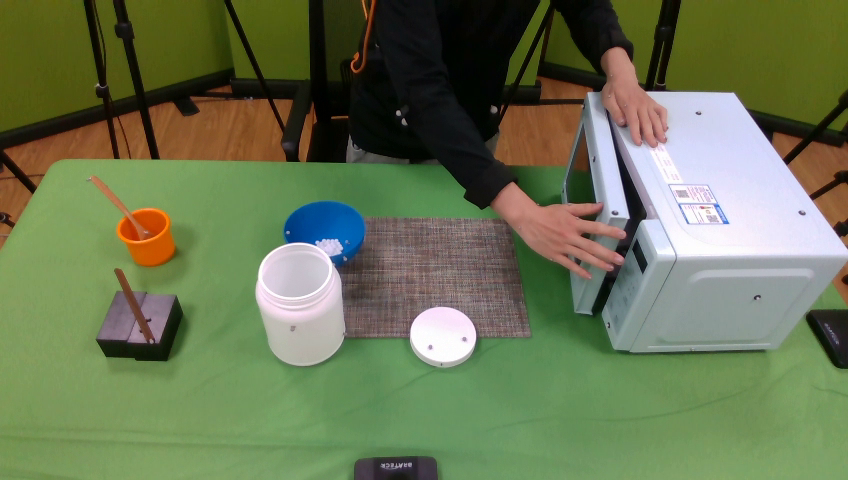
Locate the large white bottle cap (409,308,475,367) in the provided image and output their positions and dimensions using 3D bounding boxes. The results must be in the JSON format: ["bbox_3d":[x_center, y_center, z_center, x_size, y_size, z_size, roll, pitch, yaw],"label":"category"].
[{"bbox_3d":[0.031,0.166,1.041,0.115,0.018,0.114,2,46,-2],"label":"large white bottle cap"}]

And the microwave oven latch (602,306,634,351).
[{"bbox_3d":[0.332,0.153,1.044,0.030,0.029,0.078,0,45,-4],"label":"microwave oven latch"}]

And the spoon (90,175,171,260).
[{"bbox_3d":[-0.539,-0.042,1.111,0.041,0.194,0.021,-45,19,-32],"label":"spoon"}]

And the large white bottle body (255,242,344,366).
[{"bbox_3d":[-0.196,0.102,0.967,0.131,0.185,0.130,2,49,-2],"label":"large white bottle body"}]

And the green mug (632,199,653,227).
[{"bbox_3d":[0.455,-0.056,1.153,0.125,0.105,0.092,-17,45,-10],"label":"green mug"}]

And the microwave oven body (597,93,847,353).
[{"bbox_3d":[0.475,-0.041,1.110,0.326,0.261,0.438,-1,45,-4],"label":"microwave oven body"}]

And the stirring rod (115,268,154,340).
[{"bbox_3d":[-0.479,0.103,0.999,0.014,0.006,0.175,8,32,-49],"label":"stirring rod"}]

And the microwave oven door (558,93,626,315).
[{"bbox_3d":[0.304,-0.075,1.122,0.039,0.245,0.353,5,46,1],"label":"microwave oven door"}]

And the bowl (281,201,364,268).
[{"bbox_3d":[-0.187,0.005,1.138,0.151,0.077,0.150,3,46,-3],"label":"bowl"}]
